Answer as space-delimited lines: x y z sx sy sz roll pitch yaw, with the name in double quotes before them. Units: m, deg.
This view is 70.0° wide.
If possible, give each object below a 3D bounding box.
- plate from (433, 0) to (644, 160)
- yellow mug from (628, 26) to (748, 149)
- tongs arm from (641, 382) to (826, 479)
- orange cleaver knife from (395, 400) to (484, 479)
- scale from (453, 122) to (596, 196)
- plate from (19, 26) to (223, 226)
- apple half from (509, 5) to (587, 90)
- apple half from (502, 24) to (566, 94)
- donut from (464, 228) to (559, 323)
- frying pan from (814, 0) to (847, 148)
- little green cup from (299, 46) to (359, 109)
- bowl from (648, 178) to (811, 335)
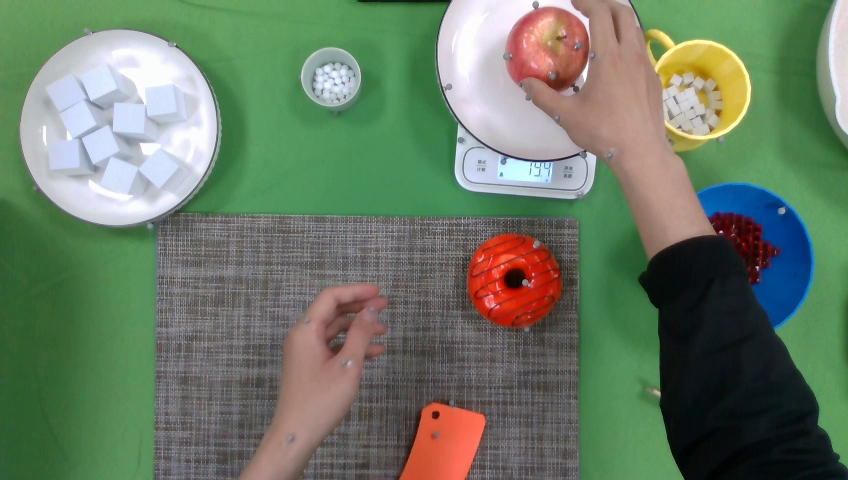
"plate" 0.112 -0.182 0.608 0.209 0.038 0.209 0 89 0
"yellow mug" 0.259 -0.163 0.622 0.100 0.064 0.130 -32 88 1
"tongs arm" 0.395 0.252 0.631 0.387 0.028 0.028 31 81 1
"orange cleaver knife" -0.010 0.263 0.633 0.077 0.012 0.211 29 87 -4
"scale" 0.111 -0.151 0.640 0.149 0.031 0.200 5 89 1
"plate" -0.312 -0.117 0.639 0.208 0.039 0.207 0 88 0
"apple half" 0.125 -0.190 0.582 0.053 0.075 0.080 -44 85 -4
"apple half" 0.097 -0.163 0.580 0.033 0.081 0.081 -44 88 -4
"donut" 0.089 0.037 0.625 0.099 0.048 0.099 0 89 2
"frying pan" 0.582 -0.092 0.599 0.307 0.103 0.485 -26 81 1
"little green cup" -0.097 -0.169 0.639 0.061 0.038 0.061 0 88 1
"bowl" 0.293 0.017 0.612 0.151 0.077 0.151 0 89 1
